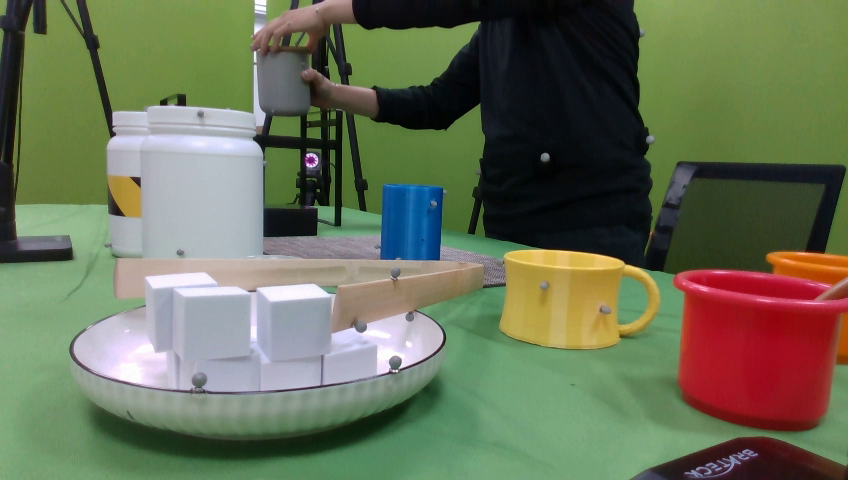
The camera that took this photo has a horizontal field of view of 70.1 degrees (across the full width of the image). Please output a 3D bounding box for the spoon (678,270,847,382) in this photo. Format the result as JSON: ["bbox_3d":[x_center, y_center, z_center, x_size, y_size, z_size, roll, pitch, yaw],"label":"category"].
[{"bbox_3d":[0.229,0.031,0.338,0.193,0.021,0.042,-44,-16,27],"label":"spoon"}]

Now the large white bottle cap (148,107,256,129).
[{"bbox_3d":[-0.250,-0.137,0.686,0.115,0.018,0.115,3,8,0],"label":"large white bottle cap"}]

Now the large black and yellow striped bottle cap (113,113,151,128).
[{"bbox_3d":[-0.348,-0.154,0.800,0.115,0.019,0.115,2,6,0],"label":"large black and yellow striped bottle cap"}]

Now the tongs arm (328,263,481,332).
[{"bbox_3d":[-0.003,0.036,0.492,0.050,0.026,0.386,1,-1,19],"label":"tongs arm"}]

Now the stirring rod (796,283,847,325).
[{"bbox_3d":[0.346,0.019,0.460,0.014,0.176,0.006,-17,59,-26],"label":"stirring rod"}]

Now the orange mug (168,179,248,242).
[{"bbox_3d":[-0.351,-0.050,0.986,0.126,0.101,0.083,-3,8,-9],"label":"orange mug"}]

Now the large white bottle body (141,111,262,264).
[{"bbox_3d":[-0.254,-0.053,0.697,0.131,0.184,0.130,2,7,0],"label":"large white bottle body"}]

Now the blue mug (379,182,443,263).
[{"bbox_3d":[-0.020,-0.026,0.833,0.082,0.106,0.116,1,7,-7],"label":"blue mug"}]

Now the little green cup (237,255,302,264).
[{"bbox_3d":[-0.150,0.038,0.590,0.061,0.038,0.061,3,7,0],"label":"little green cup"}]

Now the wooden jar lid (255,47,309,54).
[{"bbox_3d":[-0.288,-0.383,1.235,0.108,0.020,0.108,1,17,0],"label":"wooden jar lid"}]

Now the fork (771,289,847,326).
[{"bbox_3d":[0.335,0.018,0.443,0.028,0.018,0.207,-2,-36,-20],"label":"fork"}]

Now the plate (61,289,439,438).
[{"bbox_3d":[-0.095,0.069,0.362,0.208,0.039,0.207,2,7,0],"label":"plate"}]

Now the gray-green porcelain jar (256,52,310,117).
[{"bbox_3d":[-0.291,-0.323,1.254,0.106,0.126,0.106,2,18,0],"label":"gray-green porcelain jar"}]

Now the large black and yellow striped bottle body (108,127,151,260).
[{"bbox_3d":[-0.350,-0.071,0.812,0.131,0.184,0.130,2,7,0],"label":"large black and yellow striped bottle body"}]

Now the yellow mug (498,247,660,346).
[{"bbox_3d":[0.130,0.045,0.508,0.131,0.064,0.100,4,7,6],"label":"yellow mug"}]

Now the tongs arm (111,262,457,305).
[{"bbox_3d":[-0.080,0.033,0.527,0.028,0.027,0.389,-4,-4,33],"label":"tongs arm"}]
